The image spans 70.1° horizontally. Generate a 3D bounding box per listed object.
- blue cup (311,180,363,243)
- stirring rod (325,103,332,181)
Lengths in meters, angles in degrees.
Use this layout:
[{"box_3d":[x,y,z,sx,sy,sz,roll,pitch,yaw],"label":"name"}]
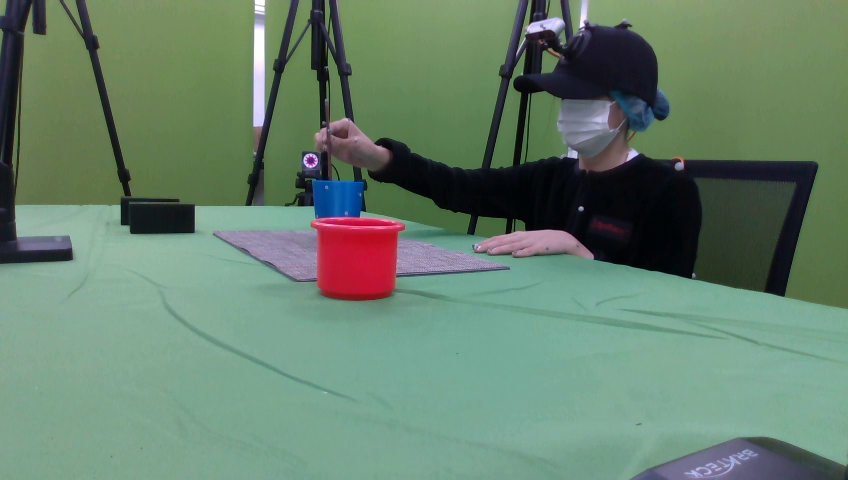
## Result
[{"box_3d":[-0.144,-0.047,0.997,0.093,0.100,0.092,2,6,0],"label":"blue cup"},{"box_3d":[-0.159,-0.141,1.012,0.006,0.176,0.014,-2,0,-5],"label":"stirring rod"}]
